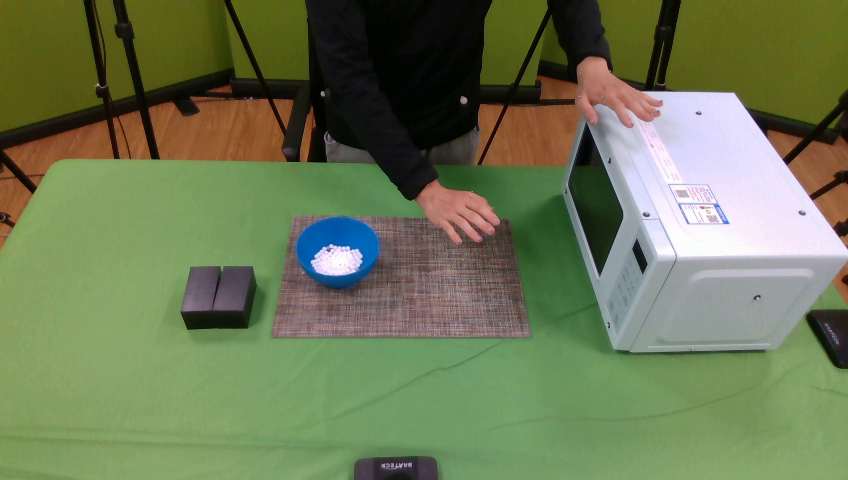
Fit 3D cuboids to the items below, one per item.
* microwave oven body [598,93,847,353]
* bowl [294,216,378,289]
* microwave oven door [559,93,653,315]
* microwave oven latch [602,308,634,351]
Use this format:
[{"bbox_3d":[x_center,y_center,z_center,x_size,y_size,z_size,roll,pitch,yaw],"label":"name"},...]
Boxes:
[{"bbox_3d":[0.475,-0.041,1.109,0.326,0.261,0.438,-1,45,-4],"label":"microwave oven body"},{"bbox_3d":[-0.158,0.036,1.110,0.151,0.077,0.150,3,45,-2],"label":"bowl"},{"bbox_3d":[0.327,-0.074,1.123,0.039,0.245,0.353,-1,46,-5],"label":"microwave oven door"},{"bbox_3d":[0.332,0.153,1.044,0.030,0.029,0.078,0,45,-4],"label":"microwave oven latch"}]
